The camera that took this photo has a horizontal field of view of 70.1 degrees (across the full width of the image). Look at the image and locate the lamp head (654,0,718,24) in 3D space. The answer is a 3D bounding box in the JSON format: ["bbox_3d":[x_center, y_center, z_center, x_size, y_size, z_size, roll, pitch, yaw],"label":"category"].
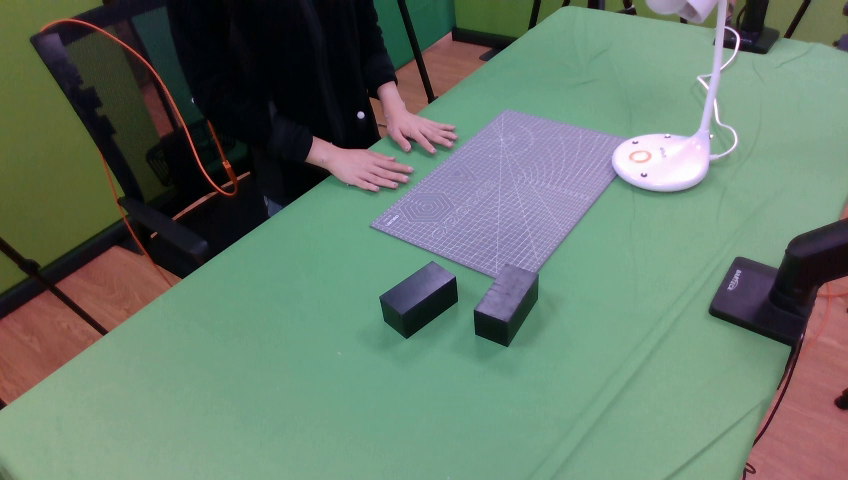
[{"bbox_3d":[0.356,-0.361,0.788,0.123,0.113,0.111,-51,42,13],"label":"lamp head"}]

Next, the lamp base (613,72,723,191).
[{"bbox_3d":[0.423,-0.198,1.020,0.179,0.181,0.159,-6,42,-3],"label":"lamp base"}]
